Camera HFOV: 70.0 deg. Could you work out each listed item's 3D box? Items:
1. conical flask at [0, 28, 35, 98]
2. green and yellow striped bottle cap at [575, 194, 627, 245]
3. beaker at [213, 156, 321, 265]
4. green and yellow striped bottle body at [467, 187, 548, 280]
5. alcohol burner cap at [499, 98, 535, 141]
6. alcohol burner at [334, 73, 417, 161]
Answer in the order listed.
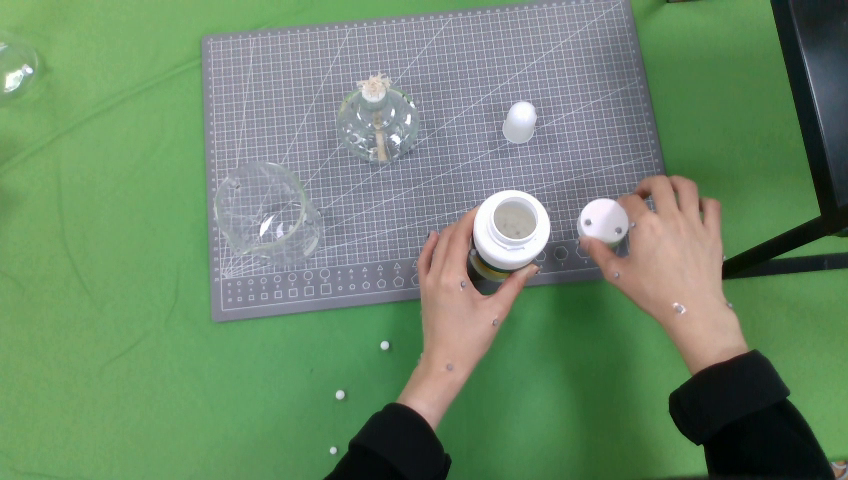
[{"bbox_3d":[-0.438,-0.191,0.569,0.075,0.122,0.075,0,77,1],"label":"conical flask"},{"bbox_3d":[0.161,-0.019,0.549,0.045,0.020,0.045,-1,75,5],"label":"green and yellow striped bottle cap"},{"bbox_3d":[-0.135,-0.018,0.539,0.074,0.100,0.083,22,79,6],"label":"beaker"},{"bbox_3d":[0.071,-0.005,0.525,0.063,0.120,0.063,0,77,1],"label":"green and yellow striped bottle body"},{"bbox_3d":[0.092,-0.120,0.591,0.034,0.048,0.033,0,77,0],"label":"alcohol burner cap"},{"bbox_3d":[-0.045,-0.118,0.554,0.078,0.119,0.077,0,76,-1],"label":"alcohol burner"}]
